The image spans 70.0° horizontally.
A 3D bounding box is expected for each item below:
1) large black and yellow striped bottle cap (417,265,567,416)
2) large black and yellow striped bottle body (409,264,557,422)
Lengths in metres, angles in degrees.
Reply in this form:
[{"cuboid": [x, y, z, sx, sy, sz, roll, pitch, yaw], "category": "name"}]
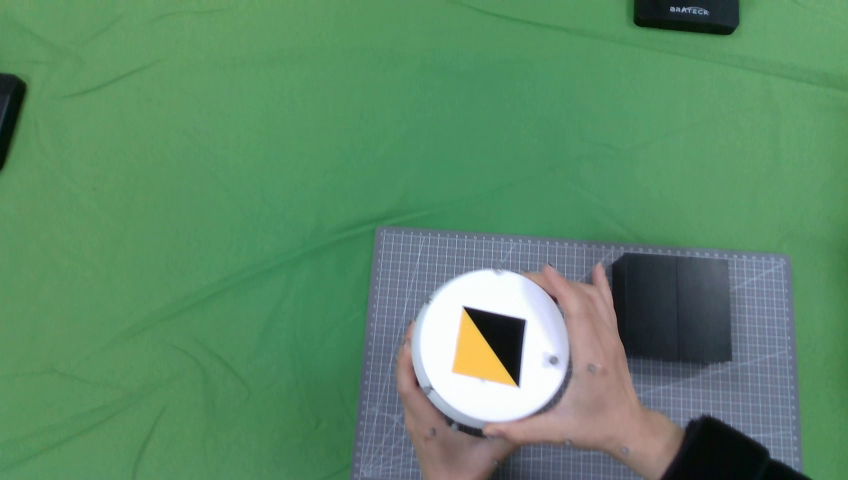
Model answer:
[{"cuboid": [0.051, 0.076, 0.464, 0.115, 0.019, 0.114, -1, 77, 3], "category": "large black and yellow striped bottle cap"}, {"cuboid": [0.053, 0.094, 0.546, 0.131, 0.185, 0.130, 0, 77, 2], "category": "large black and yellow striped bottle body"}]
